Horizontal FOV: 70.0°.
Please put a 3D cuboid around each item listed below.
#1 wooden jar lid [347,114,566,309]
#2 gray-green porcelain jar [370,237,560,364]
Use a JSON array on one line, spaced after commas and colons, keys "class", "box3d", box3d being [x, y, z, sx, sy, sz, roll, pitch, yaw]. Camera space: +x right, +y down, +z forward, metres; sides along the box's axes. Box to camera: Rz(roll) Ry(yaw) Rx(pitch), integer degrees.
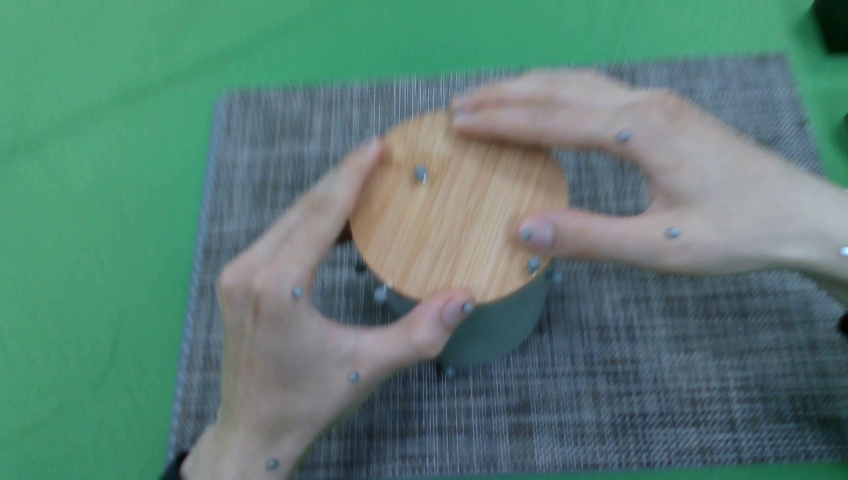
[{"class": "wooden jar lid", "box3d": [0.016, -0.015, 0.307, 0.108, 0.021, 0.107, -1, 67, 4]}, {"class": "gray-green porcelain jar", "box3d": [0.023, 0.013, 0.362, 0.106, 0.127, 0.105, -2, 64, 4]}]
